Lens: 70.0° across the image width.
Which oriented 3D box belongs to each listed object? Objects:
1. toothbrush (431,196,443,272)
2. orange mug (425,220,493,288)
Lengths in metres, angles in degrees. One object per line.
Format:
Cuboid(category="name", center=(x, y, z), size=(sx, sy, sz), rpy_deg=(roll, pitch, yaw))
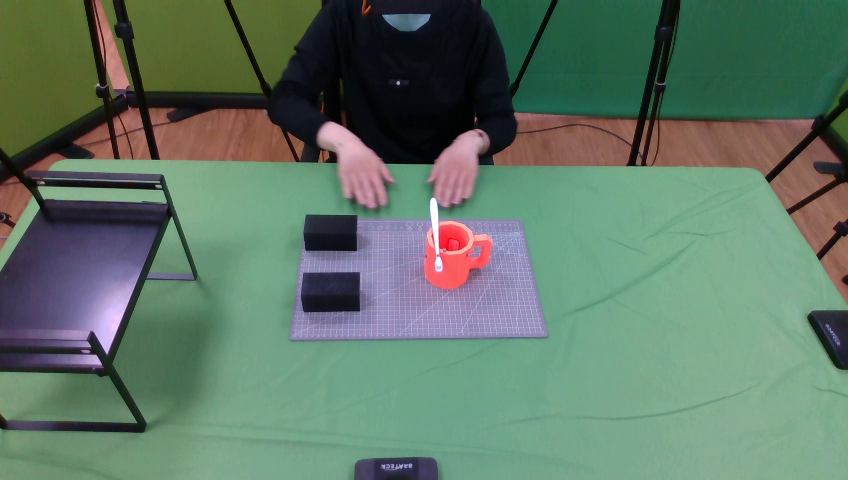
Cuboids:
Cuboid(category="toothbrush", center=(0.022, -0.016, 1.081), size=(0.014, 0.017, 0.180), rpy_deg=(-8, 47, 5))
Cuboid(category="orange mug", center=(0.064, 0.023, 1.119), size=(0.126, 0.101, 0.083), rpy_deg=(-9, 47, -6))
